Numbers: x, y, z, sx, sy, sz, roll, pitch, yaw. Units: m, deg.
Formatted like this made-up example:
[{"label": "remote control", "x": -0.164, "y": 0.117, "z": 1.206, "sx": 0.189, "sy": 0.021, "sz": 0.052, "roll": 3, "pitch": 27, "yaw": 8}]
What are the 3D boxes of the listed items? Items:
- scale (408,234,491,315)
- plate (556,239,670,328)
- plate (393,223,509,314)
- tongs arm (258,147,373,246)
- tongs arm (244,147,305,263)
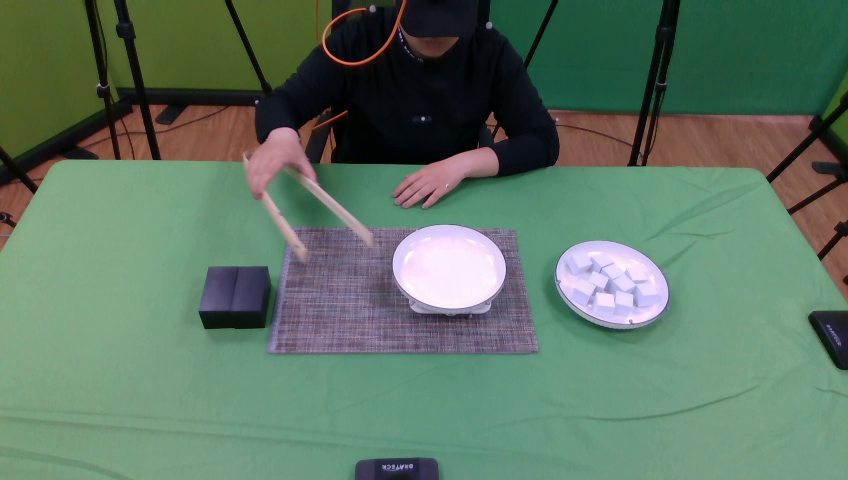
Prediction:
[{"label": "scale", "x": 0.045, "y": 0.055, "z": 1.135, "sx": 0.149, "sy": 0.032, "sz": 0.199, "roll": 1, "pitch": 46, "yaw": -3}, {"label": "plate", "x": 0.347, "y": 0.083, "z": 1.130, "sx": 0.209, "sy": 0.038, "sz": 0.208, "roll": 2, "pitch": 47, "yaw": -2}, {"label": "plate", "x": 0.048, "y": 0.053, "z": 1.091, "sx": 0.208, "sy": 0.039, "sz": 0.206, "roll": 1, "pitch": 46, "yaw": -1}, {"label": "tongs arm", "x": -0.202, "y": -0.087, "z": 1.084, "sx": 0.028, "sy": 0.028, "sz": 0.385, "roll": -23, "pitch": 42, "yaw": -30}, {"label": "tongs arm", "x": -0.255, "y": -0.074, "z": 1.054, "sx": 0.051, "sy": 0.026, "sz": 0.382, "roll": -15, "pitch": 37, "yaw": -26}]
